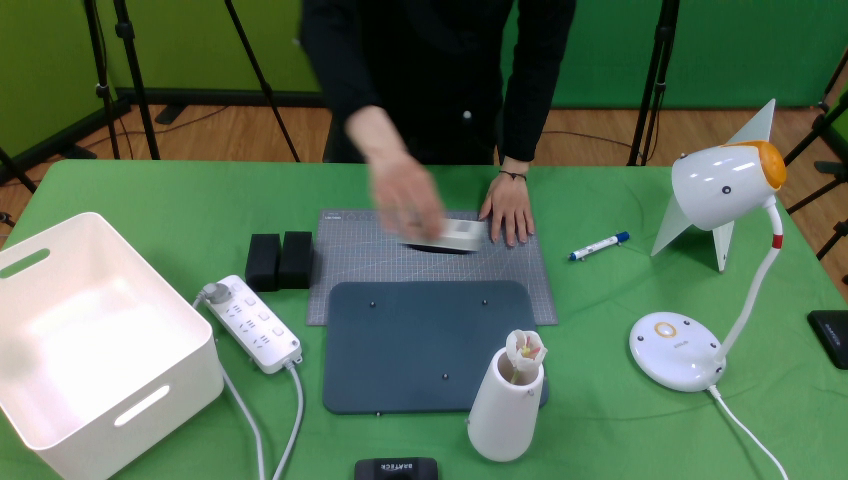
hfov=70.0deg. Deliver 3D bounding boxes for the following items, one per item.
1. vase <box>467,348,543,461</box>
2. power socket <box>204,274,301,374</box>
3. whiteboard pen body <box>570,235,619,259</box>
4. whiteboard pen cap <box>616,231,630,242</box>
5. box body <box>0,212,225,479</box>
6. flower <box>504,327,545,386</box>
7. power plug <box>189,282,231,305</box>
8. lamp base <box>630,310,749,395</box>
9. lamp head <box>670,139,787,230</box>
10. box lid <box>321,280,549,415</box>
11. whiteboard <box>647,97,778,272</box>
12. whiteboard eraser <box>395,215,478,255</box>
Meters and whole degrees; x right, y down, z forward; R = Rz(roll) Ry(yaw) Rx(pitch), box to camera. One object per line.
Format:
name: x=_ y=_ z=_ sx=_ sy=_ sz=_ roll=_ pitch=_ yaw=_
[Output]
vase: x=0.116 y=0.234 z=0.861 sx=0.098 sy=0.201 sz=0.097 roll=1 pitch=47 yaw=-1
power socket: x=-0.297 y=0.140 z=1.035 sx=0.072 sy=0.033 sz=0.225 roll=-33 pitch=57 yaw=-29
whiteboard pen body: x=0.351 y=0.011 z=1.215 sx=0.141 sy=0.017 sz=0.017 roll=-20 pitch=51 yaw=-23
whiteboard pen cap: x=0.403 y=-0.007 z=1.235 sx=0.033 sy=0.018 sz=0.018 roll=-18 pitch=50 yaw=-24
box body: x=-0.506 y=0.155 z=0.915 sx=0.362 sy=0.161 sz=0.254 roll=35 pitch=54 yaw=26
flower: x=0.114 y=0.189 z=0.790 sx=0.044 sy=0.363 sz=0.038 roll=33 pitch=69 yaw=18
power plug: x=-0.368 y=0.097 z=1.038 sx=0.072 sy=0.053 sz=0.035 roll=-27 pitch=55 yaw=-21
lamp base: x=0.447 y=0.142 z=0.984 sx=0.161 sy=0.181 sz=0.178 roll=-24 pitch=55 yaw=-24
lamp head: x=0.415 y=-0.078 z=0.812 sx=0.113 sy=0.123 sz=0.112 roll=12 pitch=70 yaw=-37
box lid: x=0.013 y=0.174 z=1.040 sx=0.372 sy=0.015 sz=0.261 roll=0 pitch=47 yaw=-5
whiteboard: x=0.602 y=-0.079 z=1.162 sx=0.144 sy=0.306 sz=0.216 roll=35 pitch=51 yaw=2
whiteboard eraser: x=0.019 y=-0.007 z=0.879 sx=0.112 sy=0.042 sz=0.055 roll=7 pitch=34 yaw=15
